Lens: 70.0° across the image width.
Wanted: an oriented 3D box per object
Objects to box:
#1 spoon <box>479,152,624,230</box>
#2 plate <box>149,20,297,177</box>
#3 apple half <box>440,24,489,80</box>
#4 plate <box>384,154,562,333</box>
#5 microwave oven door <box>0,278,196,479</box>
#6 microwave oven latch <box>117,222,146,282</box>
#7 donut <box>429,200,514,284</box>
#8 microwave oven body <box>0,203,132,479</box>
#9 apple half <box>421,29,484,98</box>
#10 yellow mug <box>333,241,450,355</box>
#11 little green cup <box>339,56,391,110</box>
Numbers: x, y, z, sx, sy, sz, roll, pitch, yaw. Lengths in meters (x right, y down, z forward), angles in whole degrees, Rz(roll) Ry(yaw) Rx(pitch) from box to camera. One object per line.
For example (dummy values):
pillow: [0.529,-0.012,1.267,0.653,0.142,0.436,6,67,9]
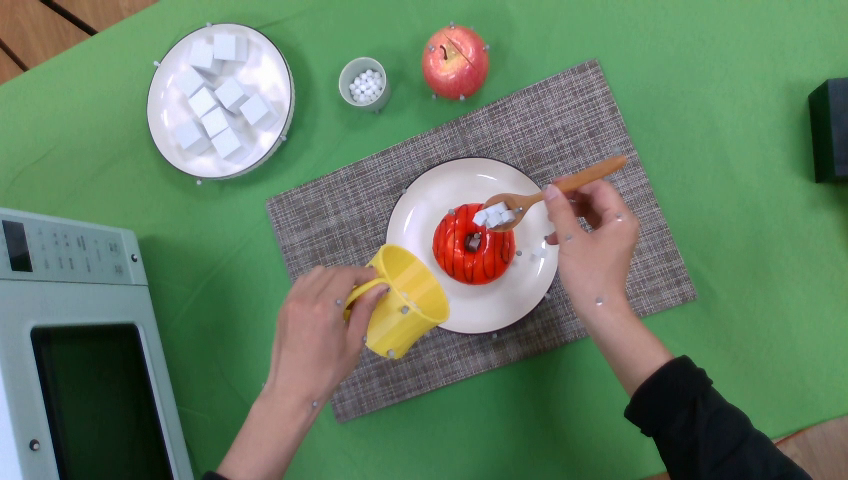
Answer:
spoon: [0.115,-0.045,0.582,0.022,0.193,0.041,-25,92,-31]
plate: [-0.261,-0.183,0.801,0.207,0.039,0.207,-1,85,12]
apple half: [0.056,-0.227,0.716,0.033,0.081,0.081,-42,78,10]
plate: [0.056,0.004,0.713,0.208,0.038,0.208,-1,85,12]
microwave oven door: [-0.353,0.216,0.665,0.039,0.245,0.354,-19,81,10]
microwave oven latch: [-0.391,0.018,0.794,0.030,0.029,0.079,-17,83,10]
donut: [0.055,0.003,0.701,0.099,0.048,0.099,-1,87,13]
microwave oven body: [-0.500,0.222,0.702,0.326,0.261,0.440,-18,82,10]
apple half: [0.027,-0.201,0.722,0.053,0.075,0.080,-42,82,11]
yellow mug: [-0.039,0.058,0.602,0.064,0.132,0.099,-41,67,21]
little green cup: [-0.071,-0.194,0.760,0.061,0.039,0.061,-1,85,13]
